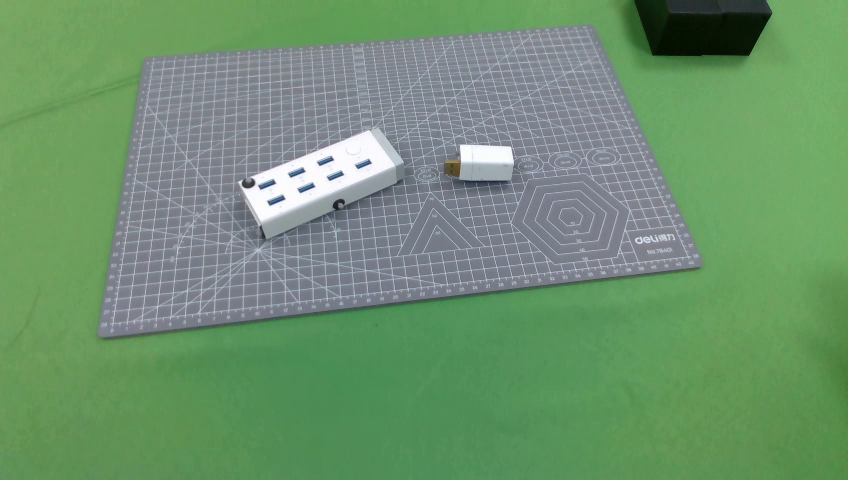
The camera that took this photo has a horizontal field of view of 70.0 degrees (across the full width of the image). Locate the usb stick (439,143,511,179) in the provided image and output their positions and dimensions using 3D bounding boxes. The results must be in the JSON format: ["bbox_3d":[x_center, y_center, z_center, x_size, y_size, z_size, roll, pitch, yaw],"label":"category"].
[{"bbox_3d":[0.042,-0.066,0.507,0.059,0.022,0.027,-1,45,-5],"label":"usb stick"}]

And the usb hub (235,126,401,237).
[{"bbox_3d":[-0.084,-0.050,0.492,0.125,0.025,0.049,-25,60,-18],"label":"usb hub"}]
